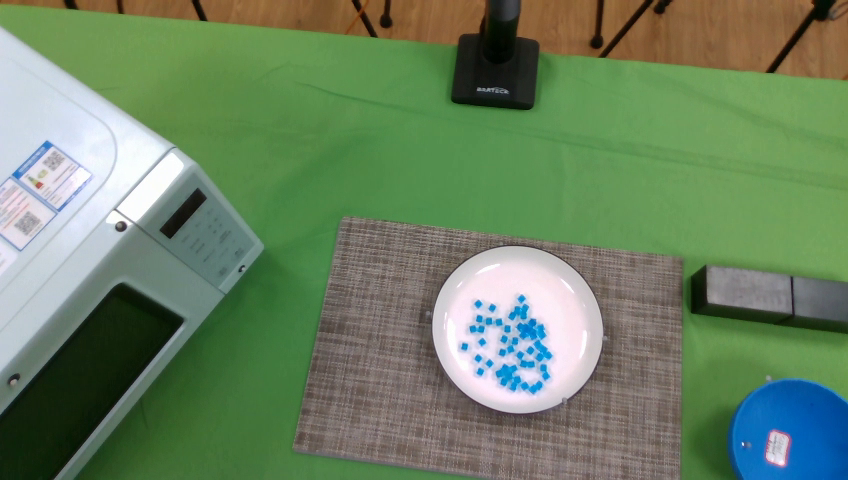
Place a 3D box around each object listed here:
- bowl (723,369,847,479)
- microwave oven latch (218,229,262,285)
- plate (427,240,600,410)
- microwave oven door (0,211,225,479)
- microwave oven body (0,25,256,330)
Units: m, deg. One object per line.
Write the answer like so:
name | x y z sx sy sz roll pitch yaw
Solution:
bowl | 0.399 0.224 0.674 0.151 0.077 0.150 0 70 2
microwave oven latch | -0.239 0.016 0.764 0.030 0.030 0.079 35 76 12
plate | 0.107 0.103 0.741 0.208 0.039 0.206 0 71 1
microwave oven door | -0.369 0.152 0.612 0.039 0.245 0.355 33 75 13
microwave oven body | -0.465 0.044 0.657 0.324 0.262 0.440 33 75 12
